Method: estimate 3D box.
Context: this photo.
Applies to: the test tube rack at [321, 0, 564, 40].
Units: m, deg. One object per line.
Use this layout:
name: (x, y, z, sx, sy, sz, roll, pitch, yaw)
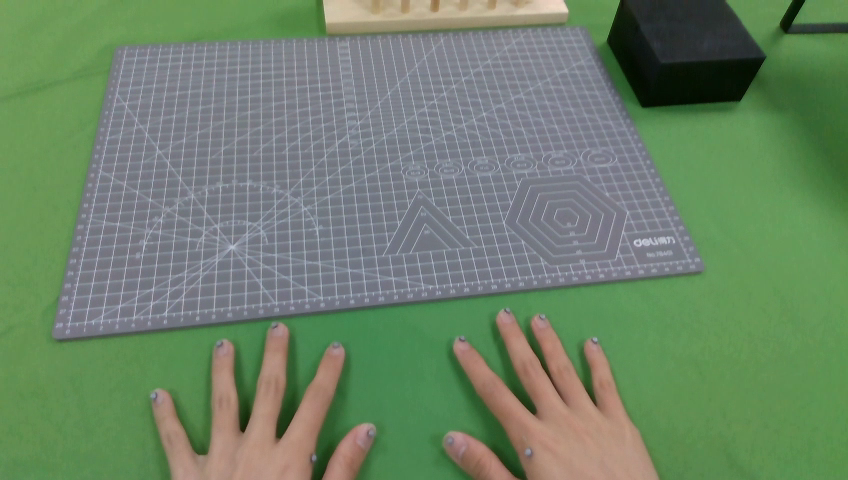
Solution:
test tube rack: (0.020, -0.257, 0.591, 0.243, 0.086, 0.066, -6, 54, -8)
